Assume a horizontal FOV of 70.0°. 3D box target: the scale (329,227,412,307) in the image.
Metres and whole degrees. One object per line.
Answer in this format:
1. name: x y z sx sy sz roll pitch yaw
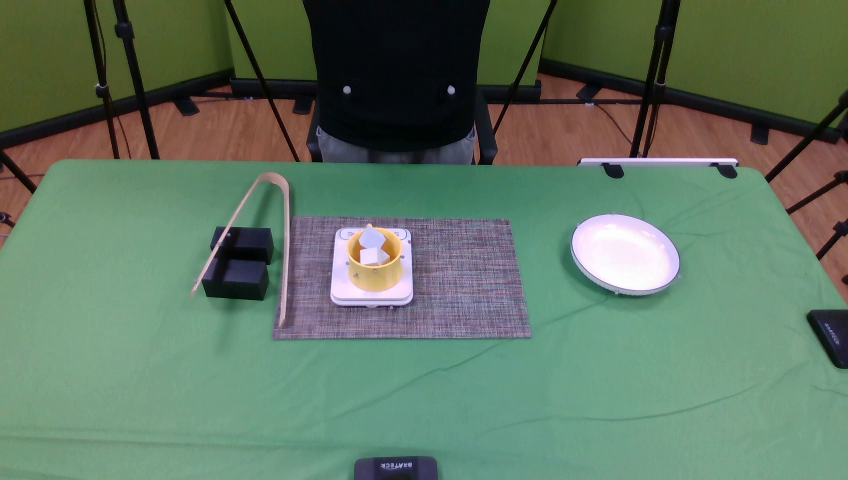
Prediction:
1. scale: -0.099 0.042 1.139 0.149 0.032 0.199 1 46 -4

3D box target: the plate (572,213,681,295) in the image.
1. plate: 0.392 0.030 1.189 0.208 0.039 0.206 2 46 -2

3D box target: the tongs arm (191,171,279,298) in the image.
1. tongs arm: -0.344 -0.023 1.133 0.051 0.026 0.382 23 36 -14

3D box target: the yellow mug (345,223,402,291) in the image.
1. yellow mug: -0.092 0.022 1.093 0.100 0.064 0.130 -8 46 -10

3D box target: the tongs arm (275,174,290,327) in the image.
1. tongs arm: -0.273 0.006 1.161 0.028 0.028 0.385 12 41 -23
